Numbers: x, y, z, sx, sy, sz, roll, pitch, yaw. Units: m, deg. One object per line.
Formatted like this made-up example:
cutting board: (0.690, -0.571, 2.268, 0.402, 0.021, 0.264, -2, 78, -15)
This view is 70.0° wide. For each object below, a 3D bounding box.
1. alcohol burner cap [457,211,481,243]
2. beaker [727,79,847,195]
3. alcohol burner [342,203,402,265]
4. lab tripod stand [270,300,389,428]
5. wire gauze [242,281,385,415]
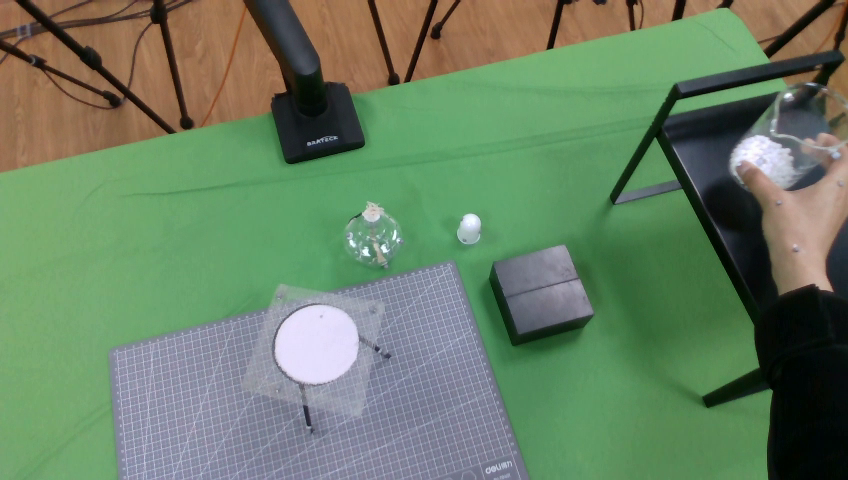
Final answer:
alcohol burner cap: (0.062, -0.019, 0.822, 0.034, 0.048, 0.033, 0, 64, 0)
beaker: (0.352, -0.094, 0.596, 0.084, 0.101, 0.073, -22, 69, -11)
alcohol burner: (-0.067, -0.015, 0.776, 0.078, 0.120, 0.077, 1, 64, -3)
lab tripod stand: (-0.113, 0.130, 0.691, 0.148, 0.132, 0.147, 1, 63, -2)
wire gauze: (-0.111, 0.107, 0.628, 0.125, 0.011, 0.120, 12, 64, 3)
